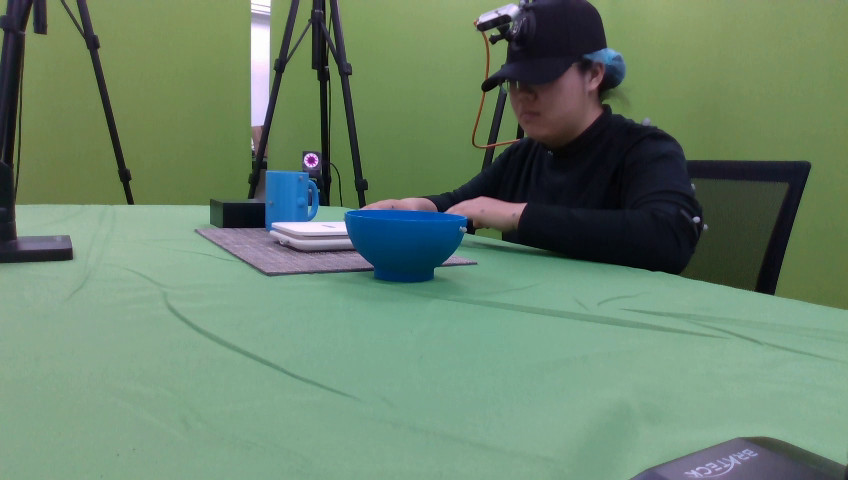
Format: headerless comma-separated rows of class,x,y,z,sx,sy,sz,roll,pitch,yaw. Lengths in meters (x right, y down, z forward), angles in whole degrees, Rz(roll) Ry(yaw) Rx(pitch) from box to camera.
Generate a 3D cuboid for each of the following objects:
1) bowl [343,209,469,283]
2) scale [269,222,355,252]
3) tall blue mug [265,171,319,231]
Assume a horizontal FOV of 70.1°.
bowl,-0.023,0.007,0.731,0.151,0.077,0.151,3,7,0
scale,-0.130,-0.008,0.959,0.202,0.031,0.148,-1,9,-32
tall blue mug,-0.248,-0.073,1.121,0.078,0.108,0.107,3,8,8
